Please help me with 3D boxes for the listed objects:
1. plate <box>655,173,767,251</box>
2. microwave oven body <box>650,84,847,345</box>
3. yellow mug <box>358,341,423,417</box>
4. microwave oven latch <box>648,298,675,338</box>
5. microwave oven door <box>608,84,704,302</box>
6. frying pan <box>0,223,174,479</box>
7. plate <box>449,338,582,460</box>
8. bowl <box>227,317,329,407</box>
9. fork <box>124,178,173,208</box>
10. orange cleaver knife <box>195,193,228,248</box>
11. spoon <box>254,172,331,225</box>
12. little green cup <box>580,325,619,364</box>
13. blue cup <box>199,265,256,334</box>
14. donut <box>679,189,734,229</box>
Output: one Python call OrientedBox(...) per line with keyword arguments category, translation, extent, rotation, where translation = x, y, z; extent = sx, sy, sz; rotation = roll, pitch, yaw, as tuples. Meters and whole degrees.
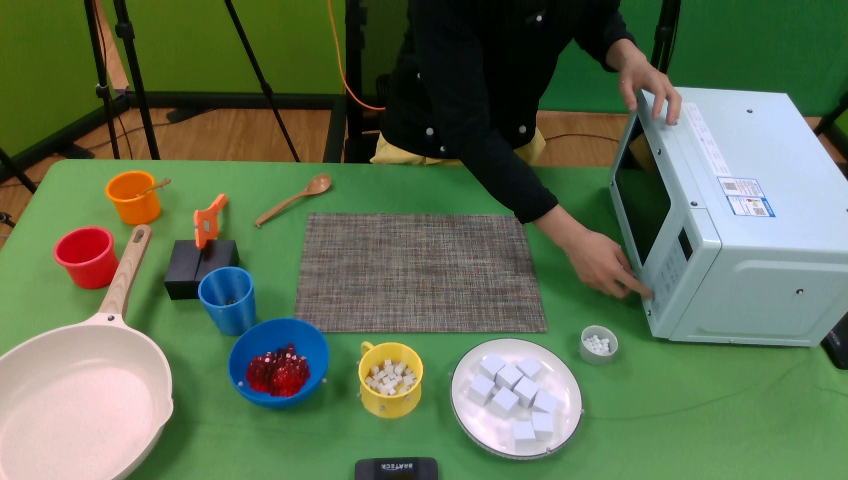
OrientedBox(category="plate", translation=(0.555, -0.052, 1.187), extent=(0.209, 0.038, 0.208), rotation=(2, 46, -2))
OrientedBox(category="microwave oven body", translation=(0.568, -0.054, 1.116), extent=(0.326, 0.261, 0.439), rotation=(2, 46, -1))
OrientedBox(category="yellow mug", translation=(-0.062, 0.210, 0.961), extent=(0.100, 0.064, 0.130), rotation=(-29, 54, -27))
OrientedBox(category="microwave oven latch", translation=(0.413, 0.133, 1.060), extent=(0.030, 0.029, 0.078), rotation=(5, 46, 2))
OrientedBox(category="microwave oven door", translation=(0.425, -0.096, 1.138), extent=(0.039, 0.245, 0.353), rotation=(2, 47, -1))
OrientedBox(category="frying pan", translation=(-0.504, 0.169, 0.941), extent=(0.307, 0.103, 0.485), rotation=(5, 54, -1))
OrientedBox(category="plate", translation=(0.141, 0.251, 0.955), extent=(0.208, 0.039, 0.206), rotation=(2, 47, -2))
OrientedBox(category="bowl", translation=(-0.222, 0.203, 0.947), extent=(0.151, 0.077, 0.150), rotation=(2, 46, -2))
OrientedBox(category="fork", translation=(-0.525, -0.090, 1.154), extent=(0.207, 0.019, 0.028), rotation=(-17, 27, 45))
OrientedBox(category="orange cleaver knife", translation=(-0.406, -0.041, 1.163), extent=(0.012, 0.077, 0.210), rotation=(0, 18, -3))
OrientedBox(category="spoon", translation=(-0.272, -0.087, 1.257), extent=(0.041, 0.022, 0.193), rotation=(45, 57, 13))
OrientedBox(category="little green cup", translation=(0.296, 0.180, 1.032), extent=(0.061, 0.039, 0.061), rotation=(2, 44, -2))
OrientedBox(category="blue cup", translation=(-0.321, 0.106, 1.014), extent=(0.093, 0.101, 0.092), rotation=(2, 48, -2))
OrientedBox(category="donut", translation=(0.546, -0.062, 1.175), extent=(0.099, 0.048, 0.098), rotation=(-1, 44, 1))
